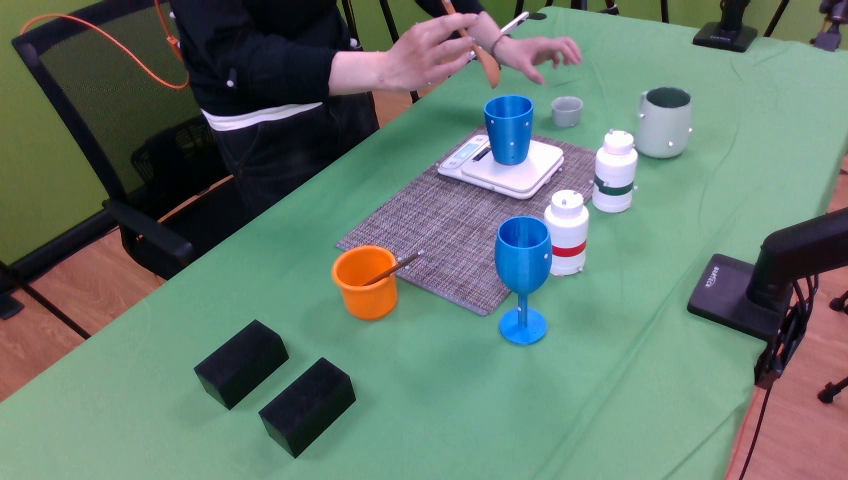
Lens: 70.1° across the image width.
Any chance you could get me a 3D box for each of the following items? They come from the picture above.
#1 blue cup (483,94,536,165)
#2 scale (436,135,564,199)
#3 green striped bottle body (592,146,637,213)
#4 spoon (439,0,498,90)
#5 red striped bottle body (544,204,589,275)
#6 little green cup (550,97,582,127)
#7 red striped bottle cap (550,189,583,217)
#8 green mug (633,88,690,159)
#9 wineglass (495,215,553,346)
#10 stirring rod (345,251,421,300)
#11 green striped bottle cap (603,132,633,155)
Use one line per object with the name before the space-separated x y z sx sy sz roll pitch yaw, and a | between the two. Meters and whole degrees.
blue cup | 0.149 -0.188 1.053 0.092 0.100 0.092 -5 40 5
scale | 0.137 -0.142 1.101 0.199 0.032 0.149 22 48 30
green striped bottle body | 0.307 -0.108 0.976 0.063 0.120 0.063 -4 41 4
spoon | 0.065 -0.306 0.916 0.021 0.195 0.041 -8 49 41
red striped bottle body | 0.206 -0.011 0.878 0.063 0.120 0.062 -5 41 4
little green cup | 0.284 -0.255 1.213 0.061 0.039 0.061 -4 41 4
red striped bottle cap | 0.199 -0.052 0.843 0.044 0.018 0.044 -1 42 2
green mug | 0.423 -0.217 1.099 0.093 0.105 0.124 -16 41 -10
wineglass | 0.127 0.054 0.770 0.074 0.173 0.073 -4 40 4
stirring rod | -0.060 0.051 0.829 0.175 0.006 0.014 -32 18 44
green striped bottle cap | 0.302 -0.149 0.938 0.044 0.020 0.044 -3 40 3
